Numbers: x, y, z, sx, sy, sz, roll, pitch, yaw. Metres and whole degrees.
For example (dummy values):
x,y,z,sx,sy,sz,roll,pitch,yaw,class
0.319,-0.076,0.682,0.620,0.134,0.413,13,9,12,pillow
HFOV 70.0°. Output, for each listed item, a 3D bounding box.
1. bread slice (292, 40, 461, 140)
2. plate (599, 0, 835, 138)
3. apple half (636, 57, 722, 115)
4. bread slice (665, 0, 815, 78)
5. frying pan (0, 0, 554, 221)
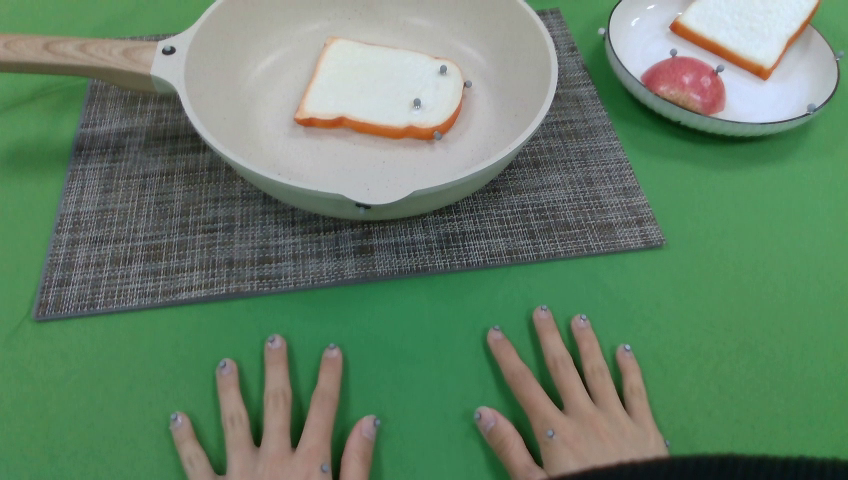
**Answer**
x,y,z,sx,sy,sz,roll,pitch,yaw,class
-0.035,-0.130,0.528,0.134,0.018,0.106,6,55,3,bread slice
0.264,-0.166,0.564,0.208,0.039,0.205,1,54,-1,plate
0.224,-0.138,0.519,0.081,0.033,0.080,13,31,-8,apple half
0.316,-0.231,0.586,0.104,0.019,0.131,36,81,20,bread slice
-0.147,-0.133,0.479,0.489,0.103,0.303,3,53,-10,frying pan
